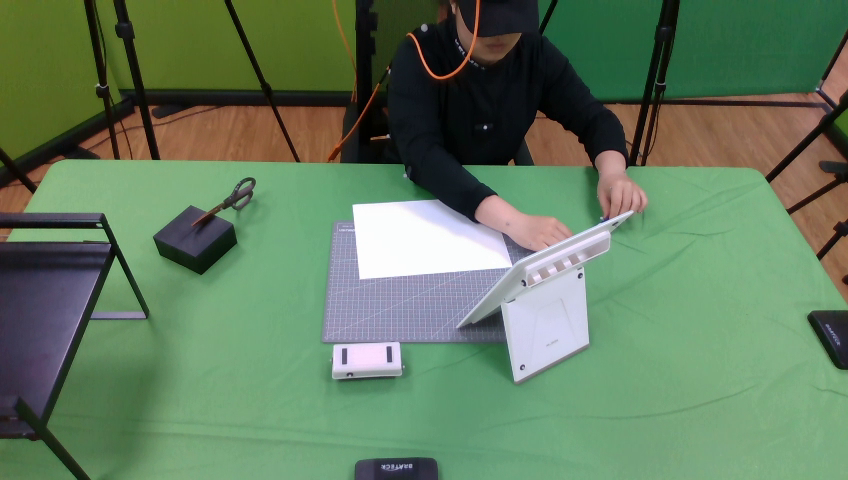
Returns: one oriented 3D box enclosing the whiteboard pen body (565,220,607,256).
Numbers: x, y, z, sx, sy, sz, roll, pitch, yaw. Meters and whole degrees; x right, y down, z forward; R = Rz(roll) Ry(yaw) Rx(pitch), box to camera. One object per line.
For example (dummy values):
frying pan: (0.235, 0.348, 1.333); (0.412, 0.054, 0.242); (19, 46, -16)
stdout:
whiteboard pen body: (0.332, -0.007, 1.228); (0.017, 0.017, 0.141); (37, 54, 27)

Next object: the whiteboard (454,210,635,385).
whiteboard: (0.210, 0.110, 0.955); (0.217, 0.306, 0.143); (-21, 72, -23)

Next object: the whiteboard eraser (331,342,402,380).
whiteboard eraser: (-0.094, 0.198, 0.986); (0.113, 0.042, 0.055); (-2, 44, -6)

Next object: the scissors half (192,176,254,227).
scissors half: (-0.388, -0.075, 1.174); (0.013, 0.040, 0.174); (29, 48, 8)

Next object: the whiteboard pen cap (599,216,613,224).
whiteboard pen cap: (0.377, -0.035, 1.253); (0.033, 0.018, 0.018); (-34, 57, -27)

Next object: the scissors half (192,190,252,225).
scissors half: (-0.394, -0.060, 1.187); (0.013, 0.040, 0.175); (25, 29, 12)
